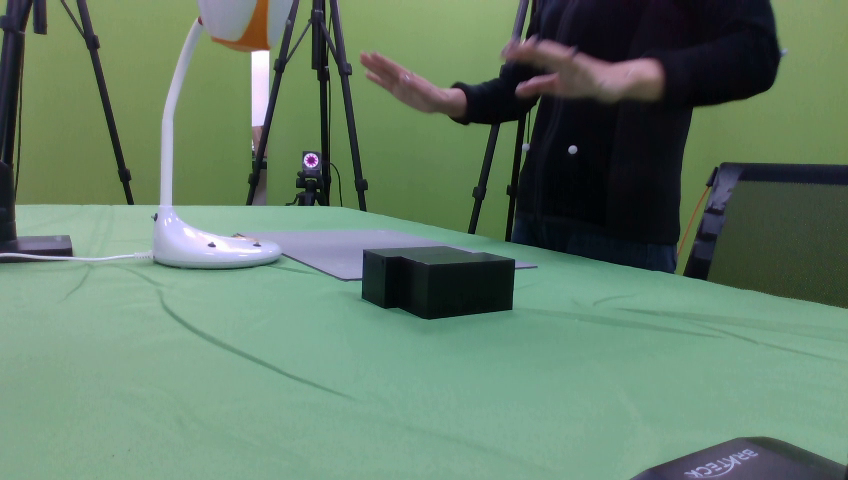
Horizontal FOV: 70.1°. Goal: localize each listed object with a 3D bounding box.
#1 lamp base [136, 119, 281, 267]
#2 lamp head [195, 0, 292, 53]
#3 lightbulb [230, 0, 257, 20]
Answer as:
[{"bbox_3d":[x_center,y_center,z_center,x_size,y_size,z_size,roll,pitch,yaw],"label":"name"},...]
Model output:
[{"bbox_3d":[-0.275,-0.061,0.773,0.160,0.180,0.180,9,13,44],"label":"lamp base"},{"bbox_3d":[-0.185,-0.254,0.610,0.112,0.123,0.112,10,20,-3],"label":"lamp head"},{"bbox_3d":[-0.175,-0.275,0.603,0.059,0.107,0.059,11,11,-2],"label":"lightbulb"}]
